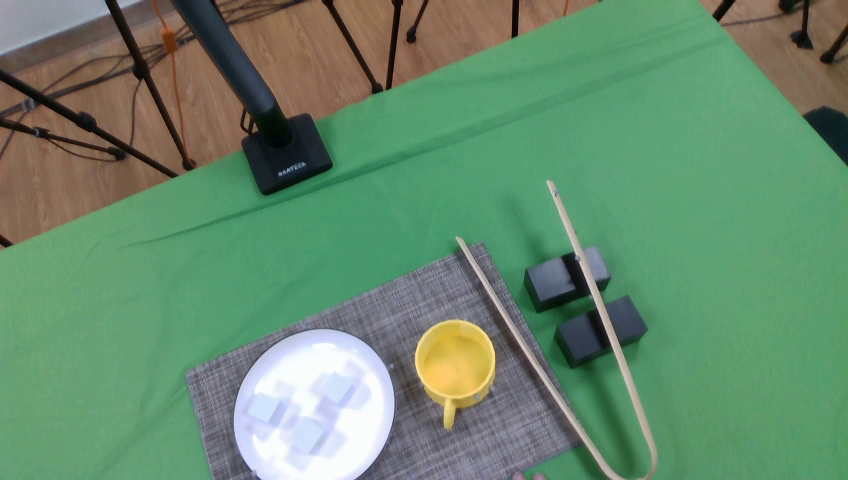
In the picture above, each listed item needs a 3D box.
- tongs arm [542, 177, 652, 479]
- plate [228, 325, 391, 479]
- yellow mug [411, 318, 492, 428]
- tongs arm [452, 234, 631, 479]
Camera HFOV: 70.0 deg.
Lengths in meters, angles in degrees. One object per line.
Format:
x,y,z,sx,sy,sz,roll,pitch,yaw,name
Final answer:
0.204,0.098,0.757,0.051,0.027,0.382,-26,69,21,tongs arm
-0.143,0.214,0.777,0.207,0.039,0.206,-2,66,4,plate
0.034,0.170,0.764,0.100,0.064,0.130,6,67,7,yellow mug
0.139,0.139,0.786,0.028,0.028,0.384,-38,65,12,tongs arm
